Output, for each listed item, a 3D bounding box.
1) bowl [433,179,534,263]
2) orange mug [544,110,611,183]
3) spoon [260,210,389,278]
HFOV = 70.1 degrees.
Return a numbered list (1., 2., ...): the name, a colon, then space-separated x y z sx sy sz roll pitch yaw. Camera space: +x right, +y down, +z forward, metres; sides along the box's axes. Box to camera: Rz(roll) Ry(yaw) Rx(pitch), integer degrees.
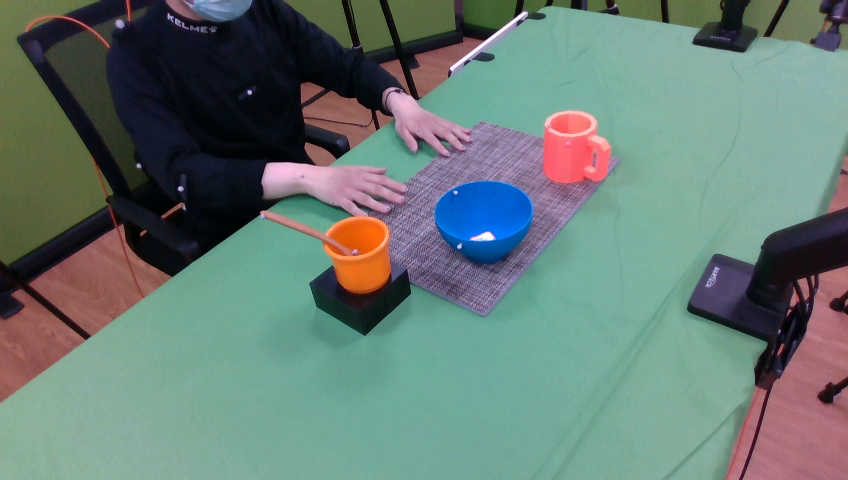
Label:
1. bowl: 0.093 -0.018 0.928 0.151 0.077 0.150 -4 41 4
2. orange mug: 0.266 -0.157 1.049 0.084 0.101 0.125 -32 42 -26
3. spoon: -0.129 0.003 0.809 0.021 0.195 0.041 -41 33 31
